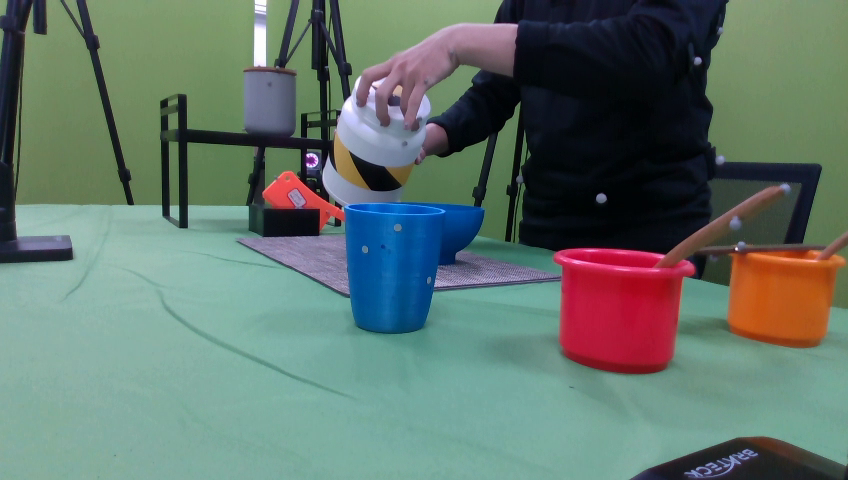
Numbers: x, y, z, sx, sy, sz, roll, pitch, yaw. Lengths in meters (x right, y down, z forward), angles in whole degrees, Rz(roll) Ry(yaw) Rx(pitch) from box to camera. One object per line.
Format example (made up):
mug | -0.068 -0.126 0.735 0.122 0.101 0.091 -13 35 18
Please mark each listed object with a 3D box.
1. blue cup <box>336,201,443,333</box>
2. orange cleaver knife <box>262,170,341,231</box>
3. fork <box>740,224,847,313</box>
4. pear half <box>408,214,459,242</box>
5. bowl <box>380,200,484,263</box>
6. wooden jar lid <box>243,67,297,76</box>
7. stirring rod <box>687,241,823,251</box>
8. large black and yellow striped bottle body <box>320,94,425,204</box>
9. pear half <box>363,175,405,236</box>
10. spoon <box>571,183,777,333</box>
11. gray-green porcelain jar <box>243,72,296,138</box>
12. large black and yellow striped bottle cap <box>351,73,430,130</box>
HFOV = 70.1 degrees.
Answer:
blue cup | -0.029 0.022 0.507 0.093 0.100 0.092 3 9 0
orange cleaver knife | -0.201 -0.057 1.136 0.212 0.077 0.012 31 -4 -31
fork | 0.323 0.013 0.485 0.028 0.018 0.207 8 -37 -6
pear half | 0.011 -0.020 0.848 0.070 0.031 0.088 5 12 33
bowl | 0.007 -0.012 0.842 0.151 0.077 0.151 2 7 0
wooden jar lid | -0.319 -0.342 1.254 0.108 0.020 0.108 3 8 0
stirring rod | 0.290 0.005 0.525 0.177 0.006 0.014 -1 5 -26
large black and yellow striped bottle body | -0.076 -0.148 0.931 0.131 0.183 0.130 15 44 -14
pear half | -0.064 -0.061 1.077 0.055 0.110 0.077 9 14 39
spoon | 0.161 0.020 0.413 0.042 0.021 0.193 1 -36 -24
gray-green porcelain jar | -0.322 -0.279 1.263 0.106 0.126 0.106 3 8 0
large black and yellow striped bottle cap | -0.047 -0.202 0.874 0.115 0.019 0.114 15 43 -14
